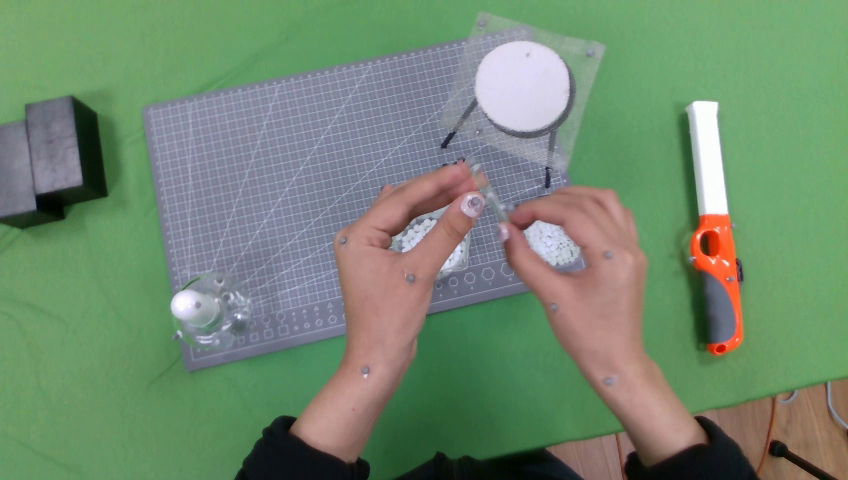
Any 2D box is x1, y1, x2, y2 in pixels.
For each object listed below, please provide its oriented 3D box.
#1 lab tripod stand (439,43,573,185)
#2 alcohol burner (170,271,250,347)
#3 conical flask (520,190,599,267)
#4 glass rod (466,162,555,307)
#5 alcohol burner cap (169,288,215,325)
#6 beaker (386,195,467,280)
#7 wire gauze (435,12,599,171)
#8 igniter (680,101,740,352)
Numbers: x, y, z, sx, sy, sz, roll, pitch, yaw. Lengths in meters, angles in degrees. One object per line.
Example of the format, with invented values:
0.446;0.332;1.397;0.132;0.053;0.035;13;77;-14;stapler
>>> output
0.088;-0.127;0.617;0.148;0.132;0.148;0;83;1;lab tripod stand
-0.216;0.067;0.596;0.078;0.119;0.077;0;82;1;alcohol burner
0.141;-0.017;0.607;0.075;0.122;0.075;0;81;0;conical flask
0.068;0.005;0.438;0.008;0.202;0.008;-14;54;20;glass rod
-0.216;0.060;0.560;0.034;0.048;0.033;1;74;-1;alcohol burner cap
0.006;0.004;0.614;0.084;0.100;0.074;41;83;5;beaker
0.085;-0.139;0.551;0.125;0.011;0.121;19;84;3;wire gauze
0.310;-0.018;0.660;0.057;0.025;0.275;-1;81;-11;igniter
